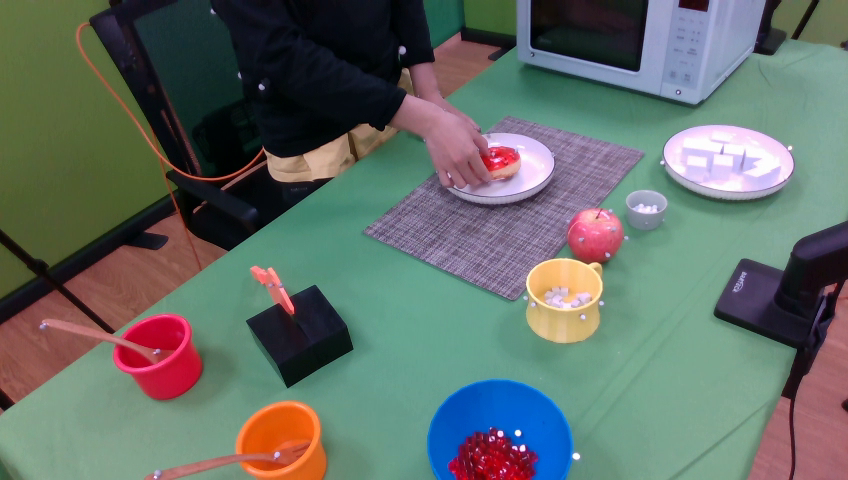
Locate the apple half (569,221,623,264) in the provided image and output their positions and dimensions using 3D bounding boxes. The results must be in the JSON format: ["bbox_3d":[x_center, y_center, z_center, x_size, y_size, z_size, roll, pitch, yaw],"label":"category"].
[{"bbox_3d":[0.251,0.010,0.884,0.081,0.081,0.032,3,37,12],"label":"apple half"}]

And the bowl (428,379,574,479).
[{"bbox_3d":[0.082,0.233,0.644,0.151,0.077,0.150,-4,39,4],"label":"bowl"}]

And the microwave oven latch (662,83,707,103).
[{"bbox_3d":[0.517,-0.296,1.204,0.078,0.029,0.030,27,52,35],"label":"microwave oven latch"}]

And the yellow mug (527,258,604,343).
[{"bbox_3d":[0.201,0.073,0.825,0.131,0.064,0.099,-32,46,-27],"label":"yellow mug"}]

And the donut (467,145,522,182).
[{"bbox_3d":[0.126,-0.138,1.075,0.099,0.048,0.098,-9,27,5],"label":"donut"}]

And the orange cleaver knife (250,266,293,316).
[{"bbox_3d":[-0.221,0.071,0.873,0.012,0.077,0.210,-25,11,-21],"label":"orange cleaver knife"}]

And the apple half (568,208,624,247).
[{"bbox_3d":[0.259,-0.014,0.914,0.080,0.075,0.053,0,36,15],"label":"apple half"}]

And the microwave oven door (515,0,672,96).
[{"bbox_3d":[0.343,-0.454,1.259,0.353,0.245,0.039,26,51,33],"label":"microwave oven door"}]

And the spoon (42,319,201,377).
[{"bbox_3d":[-0.385,0.135,0.779,0.195,0.021,0.041,29,37,-26],"label":"spoon"}]

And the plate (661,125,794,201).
[{"bbox_3d":[0.513,-0.128,1.035,0.207,0.039,0.206,-4,40,4],"label":"plate"}]

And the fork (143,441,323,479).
[{"bbox_3d":[-0.189,0.231,0.631,0.028,0.018,0.209,36,13,37],"label":"fork"}]

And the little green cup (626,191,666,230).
[{"bbox_3d":[0.352,-0.046,0.963,0.061,0.039,0.061,-4,40,4],"label":"little green cup"}]

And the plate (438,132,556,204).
[{"bbox_3d":[0.130,-0.125,1.084,0.209,0.038,0.208,-4,40,4],"label":"plate"}]

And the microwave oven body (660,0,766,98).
[{"bbox_3d":[0.472,-0.513,1.317,0.438,0.261,0.327,26,51,34],"label":"microwave oven body"}]
